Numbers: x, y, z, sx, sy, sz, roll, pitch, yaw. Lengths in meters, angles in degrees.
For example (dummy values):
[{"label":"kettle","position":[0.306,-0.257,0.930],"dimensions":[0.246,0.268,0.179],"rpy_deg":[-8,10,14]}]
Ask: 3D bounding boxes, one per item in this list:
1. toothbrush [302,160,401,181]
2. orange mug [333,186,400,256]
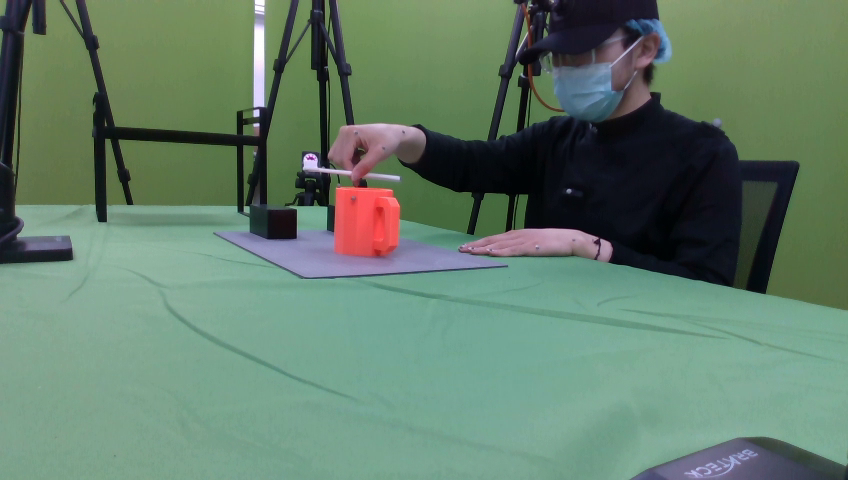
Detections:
[{"label":"toothbrush","position":[-0.109,-0.107,0.946],"dimensions":[0.183,0.016,0.014],"rpy_deg":[3,-11,-40]},{"label":"orange mug","position":[-0.080,-0.029,0.888],"dimensions":[0.084,0.100,0.125],"rpy_deg":[-3,5,-40]}]
